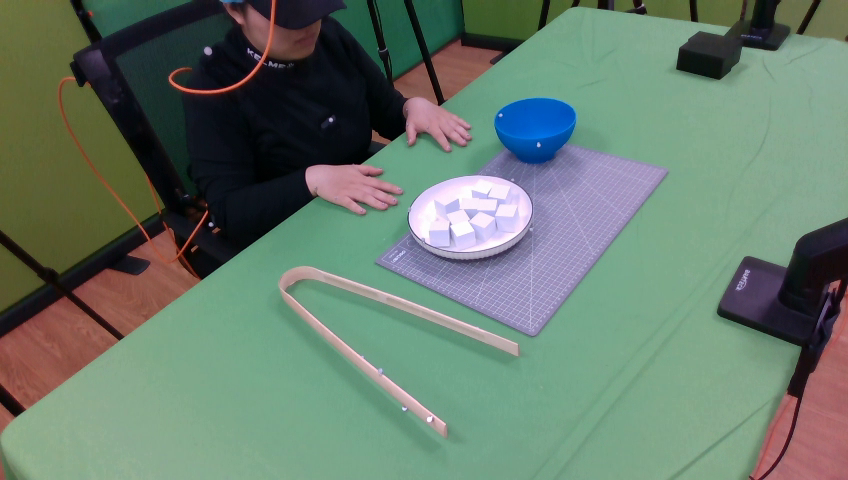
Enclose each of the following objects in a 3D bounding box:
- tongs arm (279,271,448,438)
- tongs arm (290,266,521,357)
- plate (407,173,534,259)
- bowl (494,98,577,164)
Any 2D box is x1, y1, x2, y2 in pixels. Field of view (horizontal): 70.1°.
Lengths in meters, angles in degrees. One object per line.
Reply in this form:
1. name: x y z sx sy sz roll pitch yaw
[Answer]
1. tongs arm: -0.092 0.140 0.825 0.381 0.026 0.051 28 51 37
2. tongs arm: -0.039 0.098 0.871 0.385 0.028 0.028 16 49 28
3. plate: 0.076 -0.037 0.997 0.207 0.039 0.206 -5 40 5
4. bowl: 0.207 -0.195 1.128 0.151 0.077 0.150 -5 40 5
